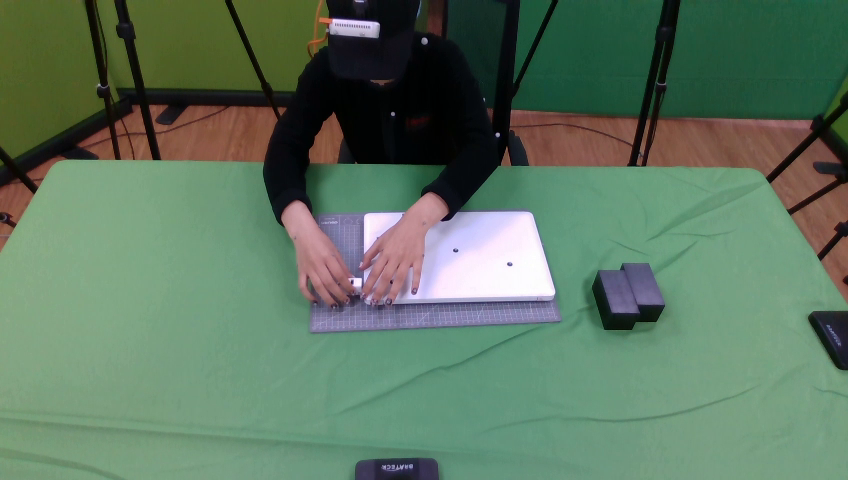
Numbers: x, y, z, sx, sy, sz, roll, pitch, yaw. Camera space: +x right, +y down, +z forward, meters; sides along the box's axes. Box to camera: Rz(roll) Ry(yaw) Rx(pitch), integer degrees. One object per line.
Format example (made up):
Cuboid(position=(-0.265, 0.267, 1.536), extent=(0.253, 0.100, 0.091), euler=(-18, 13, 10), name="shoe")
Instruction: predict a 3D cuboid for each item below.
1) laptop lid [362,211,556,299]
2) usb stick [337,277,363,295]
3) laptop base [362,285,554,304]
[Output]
Cuboid(position=(0.059, 0.022, 1.168), extent=(0.357, 0.013, 0.240), euler=(0, 44, -4), name="laptop lid")
Cuboid(position=(-0.127, 0.083, 1.092), extent=(0.059, 0.027, 0.021), euler=(0, 39, -3), name="usb stick")
Cuboid(position=(0.059, 0.032, 1.174), extent=(0.355, 0.023, 0.234), euler=(-1, 43, -5), name="laptop base")
